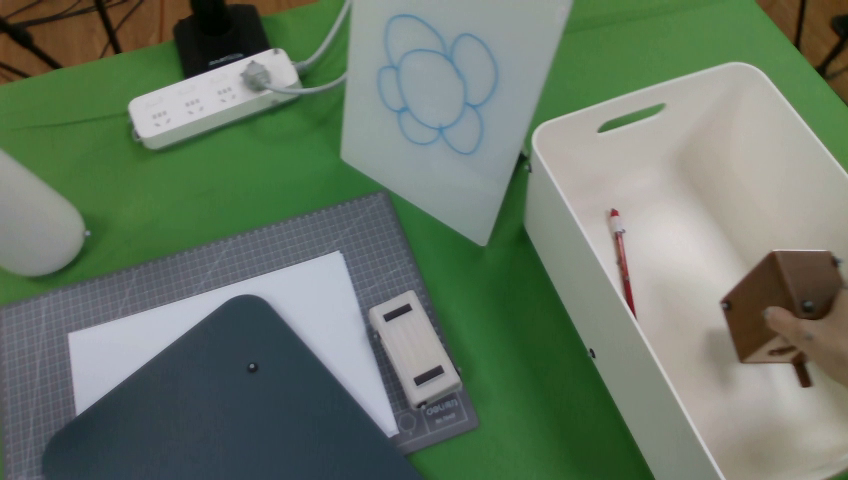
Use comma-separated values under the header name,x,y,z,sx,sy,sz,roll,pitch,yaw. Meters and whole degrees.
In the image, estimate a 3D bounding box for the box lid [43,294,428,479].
name,x,y,z,sx,sy,sz,roll,pitch,yaw
box lid,-0.159,0.243,0.568,0.263,0.015,0.369,-40,70,-18

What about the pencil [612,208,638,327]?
name,x,y,z,sx,sy,sz,roll,pitch,yaw
pencil,0.223,0.052,0.661,0.012,0.012,0.192,-1,65,1

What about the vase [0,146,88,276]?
name,x,y,z,sx,sy,sz,roll,pitch,yaw
vase,-0.433,-0.041,0.613,0.098,0.201,0.097,-1,62,2

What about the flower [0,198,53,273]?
name,x,y,z,sx,sy,sz,roll,pitch,yaw
flower,-0.434,-0.096,0.550,0.038,0.365,0.043,-30,47,-22

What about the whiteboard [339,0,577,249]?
name,x,y,z,sx,sy,sz,roll,pitch,yaw
whiteboard,0.047,-0.182,0.657,0.216,0.307,0.143,33,48,17

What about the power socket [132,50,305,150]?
name,x,y,z,sx,sy,sz,roll,pitch,yaw
power socket,-0.261,-0.182,0.779,0.227,0.033,0.071,-23,65,-12

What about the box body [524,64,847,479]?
name,x,y,z,sx,sy,sz,roll,pitch,yaw
box body,0.278,0.038,0.586,0.254,0.161,0.360,-19,64,-9

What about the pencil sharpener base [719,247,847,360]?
name,x,y,z,sx,sy,sz,roll,pitch,yaw
pencil sharpener base,0.334,0.064,0.563,0.061,0.108,0.076,1,59,-4

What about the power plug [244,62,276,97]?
name,x,y,z,sx,sy,sz,roll,pitch,yaw
power plug,-0.203,-0.190,0.756,0.035,0.053,0.072,-14,65,-6

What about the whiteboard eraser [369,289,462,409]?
name,x,y,z,sx,sy,sz,roll,pitch,yaw
whiteboard eraser,-0.010,0.110,0.617,0.055,0.042,0.111,-23,65,-13

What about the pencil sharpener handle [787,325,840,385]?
name,x,y,z,sx,sy,sz,roll,pitch,yaw
pencil sharpener handle,0.338,0.101,0.526,0.036,0.068,0.030,-3,59,3
